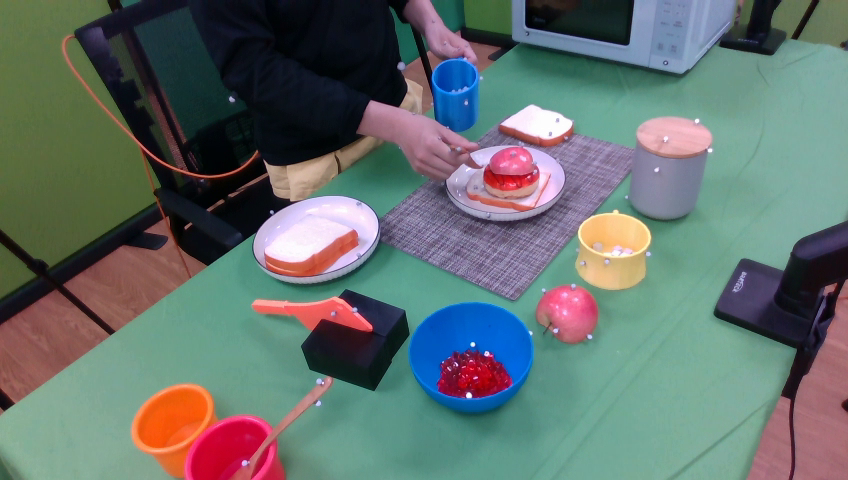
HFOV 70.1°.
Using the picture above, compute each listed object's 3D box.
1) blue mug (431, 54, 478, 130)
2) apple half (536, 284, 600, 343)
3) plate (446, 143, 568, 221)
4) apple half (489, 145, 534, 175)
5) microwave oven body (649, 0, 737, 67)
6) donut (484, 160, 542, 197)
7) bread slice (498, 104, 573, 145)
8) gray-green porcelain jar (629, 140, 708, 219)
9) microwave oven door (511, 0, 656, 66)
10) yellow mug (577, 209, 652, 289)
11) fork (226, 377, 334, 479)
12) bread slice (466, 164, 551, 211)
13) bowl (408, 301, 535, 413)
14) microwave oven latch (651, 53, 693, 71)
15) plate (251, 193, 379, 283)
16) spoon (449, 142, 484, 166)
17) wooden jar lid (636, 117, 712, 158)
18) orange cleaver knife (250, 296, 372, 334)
[{"bbox_3d":[0.059,-0.276,1.094,0.082,0.106,0.116,8,64,8],"label":"blue mug"},{"bbox_3d":[0.196,0.091,0.815,0.075,0.053,0.080,-22,42,-20],"label":"apple half"},{"bbox_3d":[0.142,-0.096,1.045,0.207,0.039,0.206,-4,41,4],"label":"plate"},{"bbox_3d":[0.145,-0.138,0.995,0.081,0.033,0.081,-2,35,2],"label":"apple half"},{"bbox_3d":[0.475,-0.602,1.411,0.438,0.261,0.327,23,50,32],"label":"microwave oven body"},{"bbox_3d":[0.149,-0.110,1.016,0.099,0.048,0.098,-4,40,4],"label":"donut"},{"bbox_3d":[0.231,-0.231,1.205,0.105,0.019,0.130,-36,47,-29],"label":"bread slice"},{"bbox_3d":[0.383,-0.105,0.958,0.106,0.127,0.105,-4,41,4],"label":"gray-green porcelain jar"},{"bbox_3d":[0.351,-0.540,1.349,0.353,0.245,0.039,24,50,31],"label":"microwave oven door"},{"bbox_3d":[0.279,0.004,0.893,0.099,0.064,0.130,5,42,15],"label":"yellow mug"},{"bbox_3d":[-0.163,0.216,0.647,0.207,0.019,0.028,-49,41,16],"label":"fork"},{"bbox_3d":[0.141,-0.093,1.041,0.133,0.018,0.107,11,42,20],"label":"bread slice"},{"bbox_3d":[0.060,0.156,0.739,0.151,0.077,0.150,-4,40,4],"label":"bowl"},{"bbox_3d":[0.532,-0.386,1.301,0.078,0.029,0.030,27,52,34],"label":"microwave oven latch"},{"bbox_3d":[-0.174,-0.001,0.984,0.209,0.038,0.208,-4,41,4],"label":"plate"},{"bbox_3d":[0.064,-0.139,0.954,0.041,0.194,0.021,29,95,13],"label":"spoon"},{"bbox_3d":[0.377,-0.151,0.917,0.108,0.021,0.108,-2,42,3],"label":"wooden jar lid"},{"bbox_3d":[-0.158,0.103,0.828,0.210,0.078,0.012,-4,43,39],"label":"orange cleaver knife"}]
